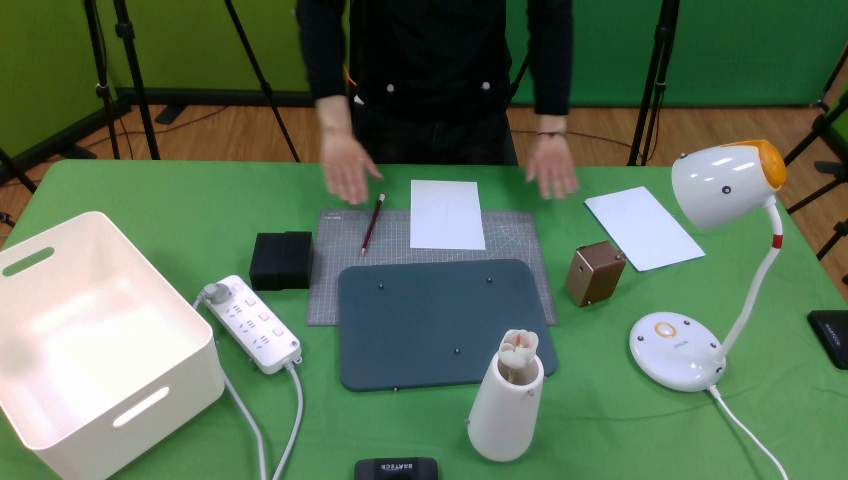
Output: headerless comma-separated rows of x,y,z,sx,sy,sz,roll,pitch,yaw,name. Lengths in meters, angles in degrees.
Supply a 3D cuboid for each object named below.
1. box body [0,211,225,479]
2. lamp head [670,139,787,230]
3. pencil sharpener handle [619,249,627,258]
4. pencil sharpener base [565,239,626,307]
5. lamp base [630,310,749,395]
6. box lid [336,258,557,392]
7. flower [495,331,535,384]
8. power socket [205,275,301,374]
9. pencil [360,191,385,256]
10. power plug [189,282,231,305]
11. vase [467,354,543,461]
-0.504,0.154,0.916,0.362,0.161,0.254,36,54,27,box body
0.415,-0.078,0.812,0.113,0.123,0.112,12,70,-37,lamp head
0.359,0.036,1.113,0.031,0.068,0.036,-15,62,-18,pencil sharpener handle
0.313,0.060,1.104,0.077,0.107,0.061,-15,49,-18,pencil sharpener base
0.447,0.143,0.984,0.161,0.181,0.178,-24,55,-24,lamp base
0.030,0.140,1.073,0.372,0.015,0.261,-3,47,-7,box lid
0.111,0.187,0.791,0.044,0.363,0.038,-31,65,-10,flower
-0.296,0.140,1.035,0.072,0.033,0.225,-32,57,-29,power socket
-0.105,-0.037,1.229,0.012,0.012,0.193,10,45,5,pencil
-0.368,0.097,1.039,0.072,0.053,0.035,-26,55,-20,power plug
0.116,0.234,0.861,0.098,0.201,0.097,1,47,-1,vase
